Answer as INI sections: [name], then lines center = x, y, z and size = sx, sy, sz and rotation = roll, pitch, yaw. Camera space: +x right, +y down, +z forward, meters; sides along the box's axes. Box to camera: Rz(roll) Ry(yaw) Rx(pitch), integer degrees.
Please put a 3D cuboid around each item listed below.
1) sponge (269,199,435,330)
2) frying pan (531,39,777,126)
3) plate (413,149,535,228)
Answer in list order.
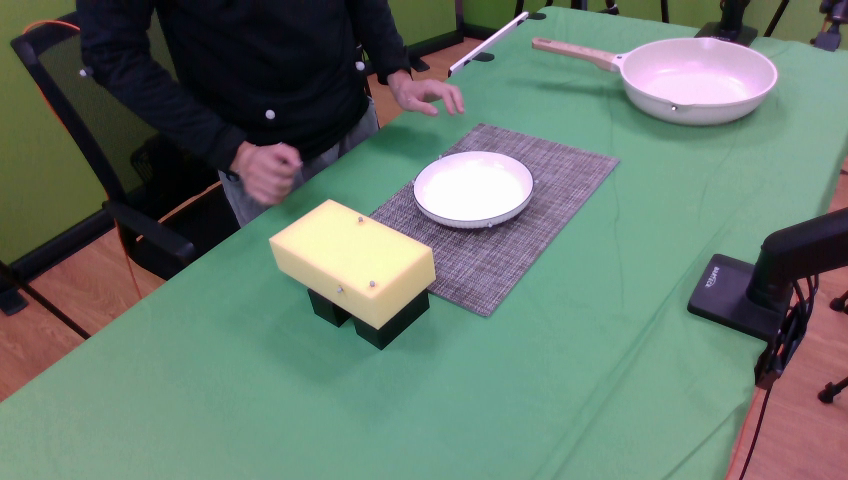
[sponge]
center = -0.102, 0.027, 0.846
size = 0.205, 0.061, 0.118
rotation = 25, 50, 32
[frying pan]
center = 0.452, -0.354, 1.254
size = 0.485, 0.103, 0.307
rotation = 22, 47, 19
[plate]
center = 0.086, -0.085, 1.038
size = 0.207, 0.039, 0.206
rotation = -4, 40, 4
